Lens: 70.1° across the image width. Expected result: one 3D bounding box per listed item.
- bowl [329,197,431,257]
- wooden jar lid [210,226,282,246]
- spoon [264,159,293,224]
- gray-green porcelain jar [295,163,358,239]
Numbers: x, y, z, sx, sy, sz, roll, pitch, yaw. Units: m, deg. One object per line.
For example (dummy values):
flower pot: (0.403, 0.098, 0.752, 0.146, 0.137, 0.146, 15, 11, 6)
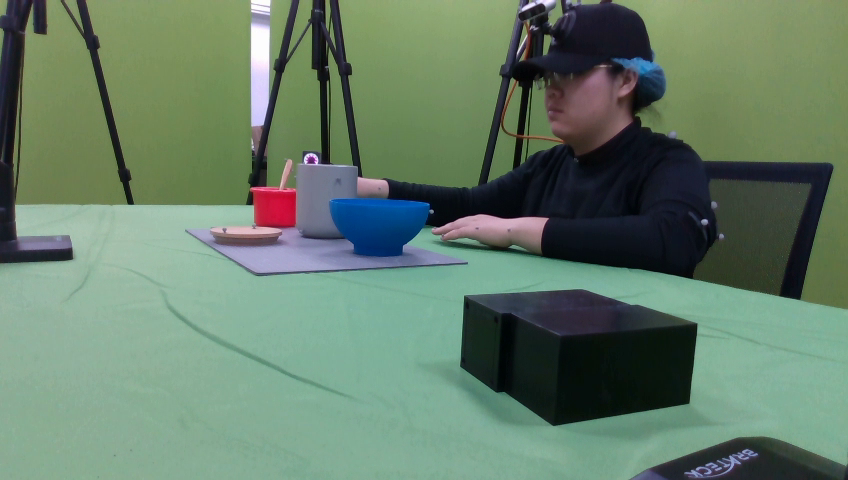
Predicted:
bowl: (-0.066, -0.019, 0.895, 0.151, 0.077, 0.151, 3, 7, 0)
wooden jar lid: (-0.279, -0.007, 0.951, 0.108, 0.020, 0.108, 2, 8, 0)
spoon: (-0.288, -0.102, 1.227, 0.041, 0.021, 0.193, 1, 51, 3)
gray-green porcelain jar: (-0.170, -0.069, 1.054, 0.106, 0.126, 0.106, 3, 7, 0)
